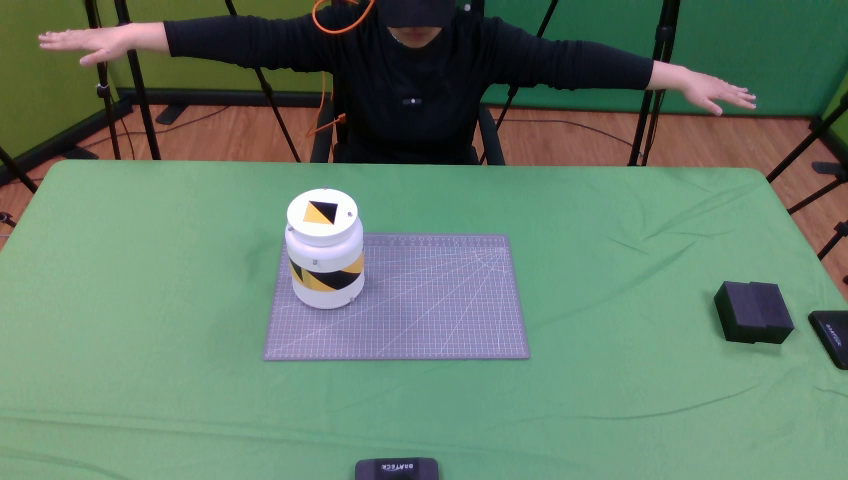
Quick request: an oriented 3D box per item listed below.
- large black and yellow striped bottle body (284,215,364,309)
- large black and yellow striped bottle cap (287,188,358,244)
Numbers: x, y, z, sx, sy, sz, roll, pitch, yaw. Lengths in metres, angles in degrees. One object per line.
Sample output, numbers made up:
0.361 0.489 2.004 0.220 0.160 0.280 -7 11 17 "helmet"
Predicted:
-0.171 0.017 1.052 0.131 0.185 0.130 2 46 -2 "large black and yellow striped bottle body"
-0.166 -0.041 0.991 0.115 0.019 0.114 2 46 -2 "large black and yellow striped bottle cap"
